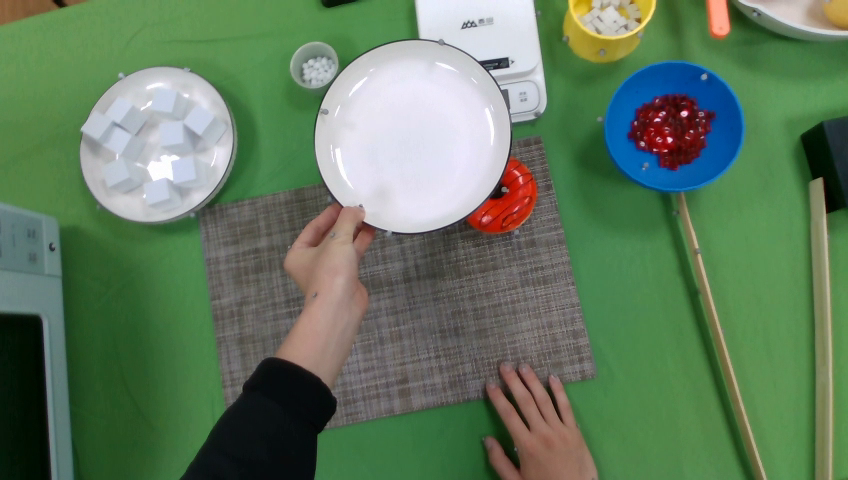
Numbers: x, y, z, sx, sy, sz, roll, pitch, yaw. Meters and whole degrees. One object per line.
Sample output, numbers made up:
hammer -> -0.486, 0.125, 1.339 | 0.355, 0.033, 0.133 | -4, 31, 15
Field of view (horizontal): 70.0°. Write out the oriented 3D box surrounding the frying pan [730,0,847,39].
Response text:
frying pan -> 0.536, -0.293, 0.688 | 0.307, 0.103, 0.484 | -38, 72, 1

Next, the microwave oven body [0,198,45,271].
microwave oven body -> -0.615, 0.183, 0.657 | 0.326, 0.261, 0.440 | -9, 82, 4

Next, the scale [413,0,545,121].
scale -> 0.068, -0.246, 0.766 | 0.148, 0.031, 0.200 | -7, 82, 5

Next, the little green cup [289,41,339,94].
little green cup -> -0.138, -0.219, 0.780 | 0.061, 0.039, 0.061 | -1, 82, 6

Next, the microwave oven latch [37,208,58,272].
microwave oven latch -> -0.485, 0.001, 0.766 | 0.030, 0.029, 0.079 | -7, 82, 4

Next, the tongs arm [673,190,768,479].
tongs arm -> 0.356, 0.123, 0.687 | 0.051, 0.026, 0.383 | -11, 83, 0

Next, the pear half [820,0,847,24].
pear half -> 0.497, -0.284, 0.684 | 0.076, 0.110, 0.056 | 24, 86, 12

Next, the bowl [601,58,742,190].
bowl -> 0.277, -0.124, 0.706 | 0.151, 0.077, 0.151 | -1, 83, 6

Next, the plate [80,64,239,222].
plate -> -0.338, -0.123, 0.787 | 0.207, 0.039, 0.207 | -1, 82, 6

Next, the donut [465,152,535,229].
donut -> 0.084, -0.061, 0.730 | 0.099, 0.048, 0.099 | -1, 83, 7

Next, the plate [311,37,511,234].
plate -> -0.013, -0.108, 0.639 | 0.209, 0.038, 0.208 | 0, 84, 4

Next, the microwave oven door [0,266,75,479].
microwave oven door -> -0.466, 0.201, 0.635 | 0.039, 0.245, 0.354 | -10, 81, 5

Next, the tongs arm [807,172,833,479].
tongs arm -> 0.441, 0.114, 0.684 | 0.028, 0.028, 0.386 | 4, 84, -1

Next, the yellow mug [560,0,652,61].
yellow mug -> 0.208, -0.290, 0.740 | 0.100, 0.064, 0.130 | -44, 80, -1

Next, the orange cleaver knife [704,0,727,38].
orange cleaver knife -> 0.340, -0.336, 0.696 | 0.077, 0.012, 0.210 | -7, 82, 7
